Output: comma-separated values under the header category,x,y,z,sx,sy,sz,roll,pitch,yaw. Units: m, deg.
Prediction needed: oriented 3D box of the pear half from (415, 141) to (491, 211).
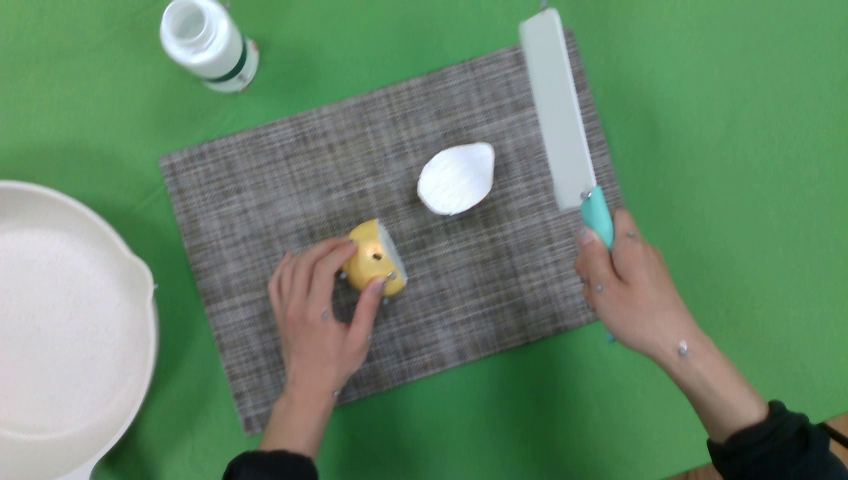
category,x,y,z,sx,sy,sz,roll,pitch,yaw
pear half,0.033,-0.063,0.619,0.088,0.031,0.070,-43,75,-12

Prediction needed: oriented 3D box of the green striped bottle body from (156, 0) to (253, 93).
category,x,y,z,sx,sy,sz,roll,pitch,yaw
green striped bottle body,-0.208,-0.185,0.573,0.063,0.119,0.063,0,89,-1

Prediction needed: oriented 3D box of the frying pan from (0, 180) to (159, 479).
category,x,y,z,sx,sy,sz,roll,pitch,yaw
frying pan,-0.358,0.185,0.579,0.307,0.103,0.486,-23,83,-1

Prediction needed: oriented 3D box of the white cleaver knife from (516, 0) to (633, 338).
category,x,y,z,sx,sy,sz,roll,pitch,yaw
white cleaver knife,0.125,-0.056,0.507,0.021,0.065,0.286,-15,94,-19

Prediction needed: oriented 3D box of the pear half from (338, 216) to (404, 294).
category,x,y,z,sx,sy,sz,roll,pitch,yaw
pear half,-0.056,0.019,0.580,0.056,0.110,0.076,-31,86,-1
